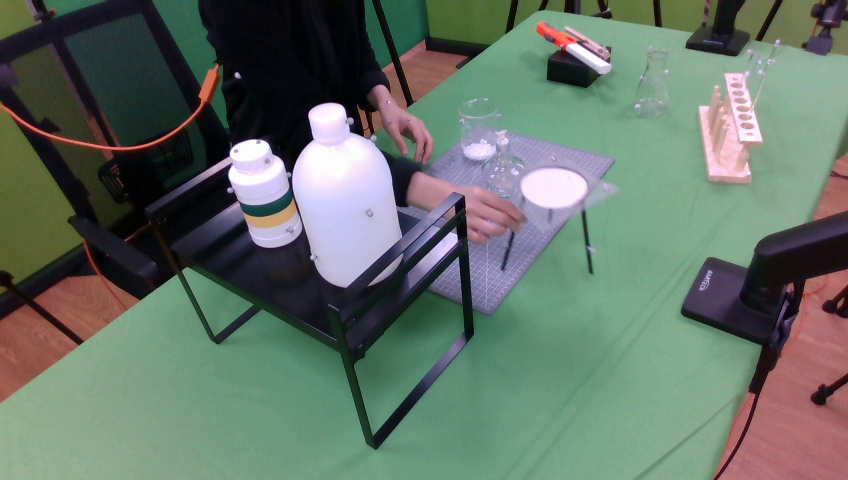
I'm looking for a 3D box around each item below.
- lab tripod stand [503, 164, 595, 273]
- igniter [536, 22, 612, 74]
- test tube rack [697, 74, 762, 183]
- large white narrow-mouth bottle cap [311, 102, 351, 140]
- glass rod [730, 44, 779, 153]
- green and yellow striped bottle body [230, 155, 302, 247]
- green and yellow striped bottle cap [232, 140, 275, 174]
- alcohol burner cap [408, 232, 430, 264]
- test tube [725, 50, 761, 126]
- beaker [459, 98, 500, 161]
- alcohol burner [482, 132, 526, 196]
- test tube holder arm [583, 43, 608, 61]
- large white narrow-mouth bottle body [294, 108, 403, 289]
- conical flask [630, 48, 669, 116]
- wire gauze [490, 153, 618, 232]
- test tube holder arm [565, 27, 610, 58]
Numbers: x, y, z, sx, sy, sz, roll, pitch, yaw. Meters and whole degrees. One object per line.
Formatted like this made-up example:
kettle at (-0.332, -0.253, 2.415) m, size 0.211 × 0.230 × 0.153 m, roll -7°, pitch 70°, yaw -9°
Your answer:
lab tripod stand at (0.176, -0.025, 0.843) m, size 0.148 × 0.132 × 0.147 m, roll -3°, pitch 44°, yaw 4°
igniter at (0.330, -0.439, 1.366) m, size 0.057 × 0.025 × 0.274 m, roll -11°, pitch 41°, yaw -20°
test tube rack at (0.547, -0.208, 1.095) m, size 0.066 × 0.085 × 0.242 m, roll 6°, pitch 42°, yaw 14°
large white narrow-mouth bottle cap at (-0.089, -0.114, 0.579) m, size 0.038 × 0.024 × 0.037 m, roll -4°, pitch 39°, yaw 3°
glass rod at (0.555, -0.234, 1.021) m, size 0.008 × 0.200 × 0.008 m, roll 2°, pitch 40°, yaw -1°
green and yellow striped bottle body at (-0.188, -0.055, 0.714) m, size 0.063 × 0.120 × 0.063 m, roll -4°, pitch 41°, yaw 4°
green and yellow striped bottle cap at (-0.192, -0.094, 0.680) m, size 0.045 × 0.020 × 0.045 m, roll -5°, pitch 39°, yaw 5°
alcohol burner cap at (-0.010, 0.010, 0.946) m, size 0.034 × 0.048 × 0.033 m, roll -4°, pitch 40°, yaw 4°
test tube at (0.570, -0.269, 1.086) m, size 0.017 × 0.151 × 0.017 m, roll -1°, pitch 45°, yaw 2°
beaker at (0.104, -0.208, 1.142) m, size 0.074 × 0.101 × 0.083 m, roll -20°, pitch 42°, yaw -15°
alcohol burner at (0.137, -0.136, 1.042) m, size 0.078 × 0.119 × 0.077 m, roll -4°, pitch 43°, yaw 4°
test tube holder arm at (0.379, -0.420, 1.341) m, size 0.010 × 0.015 × 0.087 m, roll -39°, pitch 41°, yaw 10°
large white narrow-mouth bottle body at (-0.082, -0.047, 0.634) m, size 0.102 × 0.195 × 0.101 m, roll -4°, pitch 39°, yaw 4°
conical flask at (0.456, -0.317, 1.205) m, size 0.075 × 0.122 × 0.075 m, roll -4°, pitch 41°, yaw 4°
wire gauze at (0.168, -0.069, 0.791) m, size 0.122 × 0.011 × 0.124 m, roll -24°, pitch 45°, yaw -17°
test tube holder arm at (0.369, -0.450, 1.373) m, size 0.013 × 0.015 × 0.177 m, roll -39°, pitch 41°, yaw 10°
